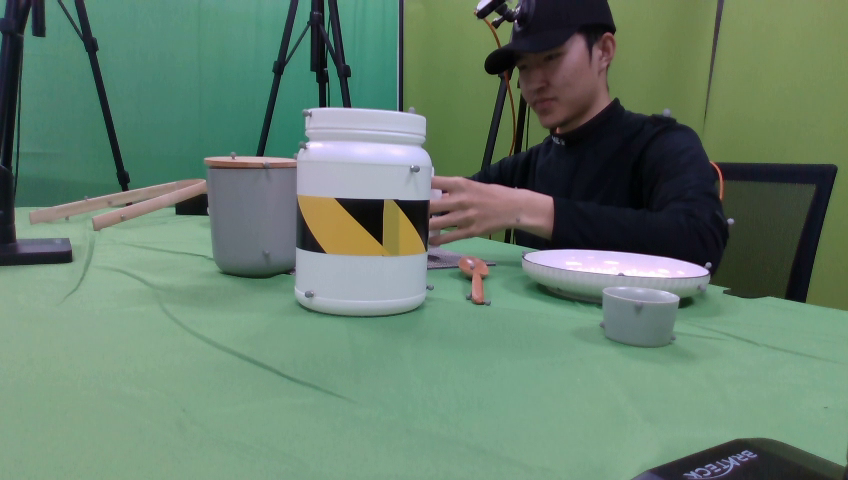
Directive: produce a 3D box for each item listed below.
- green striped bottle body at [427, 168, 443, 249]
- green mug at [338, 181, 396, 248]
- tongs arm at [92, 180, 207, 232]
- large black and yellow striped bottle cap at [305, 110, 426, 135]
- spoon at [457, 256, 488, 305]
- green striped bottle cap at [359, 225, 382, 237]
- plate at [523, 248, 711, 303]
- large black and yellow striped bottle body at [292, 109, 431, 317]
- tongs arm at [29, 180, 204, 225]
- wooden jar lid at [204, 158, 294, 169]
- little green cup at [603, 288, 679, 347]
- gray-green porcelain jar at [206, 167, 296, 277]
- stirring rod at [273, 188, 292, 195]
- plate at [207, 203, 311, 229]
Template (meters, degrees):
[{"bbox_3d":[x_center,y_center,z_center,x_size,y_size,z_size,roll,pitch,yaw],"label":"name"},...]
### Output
[{"bbox_3d":[-0.004,-0.048,0.894,0.063,0.119,0.063,1,3,0],"label":"green striped bottle body"},{"bbox_3d":[-0.097,-0.044,0.995,0.093,0.105,0.125,-1,7,-21],"label":"green mug"},{"bbox_3d":[-0.534,-0.076,1.221,0.028,0.028,0.388,-2,15,12],"label":"tongs arm"},{"bbox_3d":[-0.055,-0.110,0.574,0.115,0.019,0.115,1,7,0],"label":"large black and yellow striped bottle cap"},{"bbox_3d":[0.059,0.044,0.696,0.041,0.021,0.193,22,7,0],"label":"spoon"},{"bbox_3d":[-0.101,-0.016,1.138,0.044,0.020,0.044,-2,7,1],"label":"green striped bottle cap"},{"bbox_3d":[0.219,0.041,0.706,0.209,0.038,0.209,2,7,0],"label":"plate"},{"bbox_3d":[-0.060,-0.028,0.584,0.131,0.184,0.130,3,7,0],"label":"large black and yellow striped bottle body"},{"bbox_3d":[-0.609,-0.083,1.245,0.050,0.026,0.386,5,16,23],"label":"tongs arm"},{"bbox_3d":[-0.202,-0.086,0.714,0.108,0.020,0.108,3,11,0],"label":"wooden jar lid"},{"bbox_3d":[0.180,0.064,0.505,0.061,0.038,0.061,2,6,0],"label":"little green cup"},{"bbox_3d":[-0.201,-0.024,0.724,0.106,0.126,0.106,-1,9,1],"label":"gray-green porcelain jar"},{"bbox_3d":[-0.354,-0.122,1.518,0.006,0.014,0.176,2,6,1],"label":"stirring rod"},{"bbox_3d":[-0.342,-0.050,1.259,0.208,0.039,0.207,2,7,0],"label":"plate"}]
